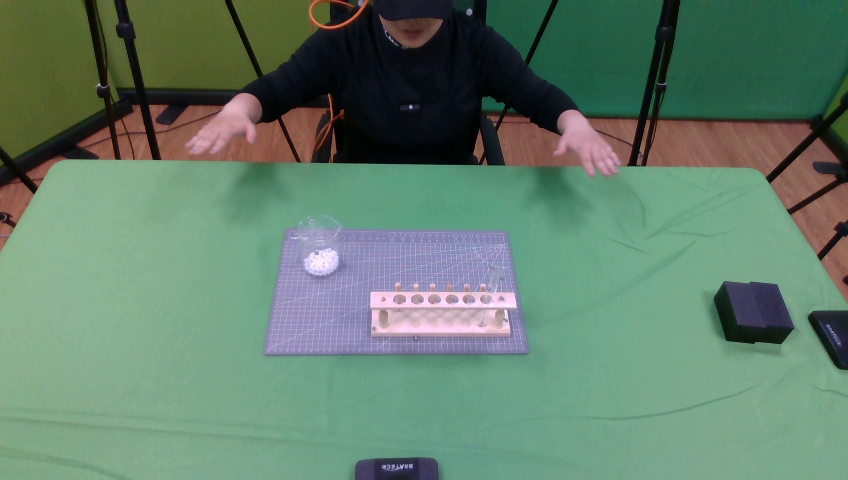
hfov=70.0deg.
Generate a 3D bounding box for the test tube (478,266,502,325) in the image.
[{"bbox_3d":[0.107,0.095,0.998,0.017,0.151,0.017,4,48,-4],"label":"test tube"}]

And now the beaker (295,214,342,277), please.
[{"bbox_3d":[-0.191,0.013,1.114,0.084,0.101,0.073,-12,49,-17],"label":"beaker"}]

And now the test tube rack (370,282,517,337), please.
[{"bbox_3d":[0.030,0.116,1.041,0.242,0.085,0.066,1,46,-4],"label":"test tube rack"}]
